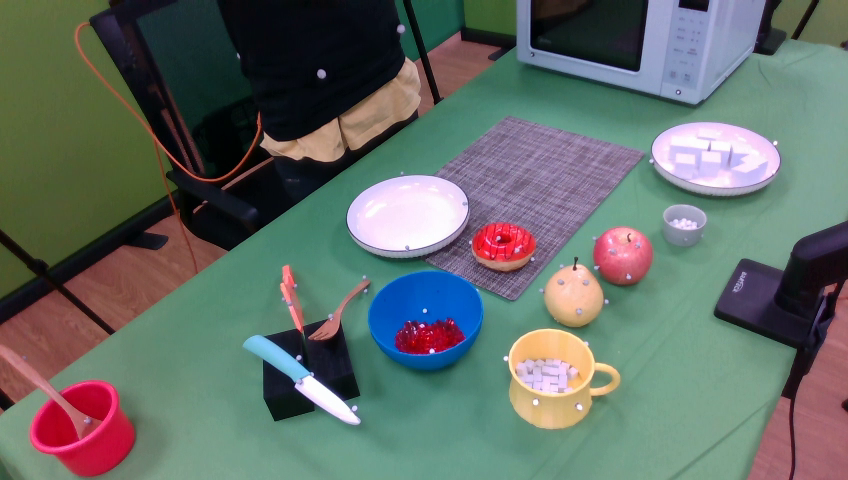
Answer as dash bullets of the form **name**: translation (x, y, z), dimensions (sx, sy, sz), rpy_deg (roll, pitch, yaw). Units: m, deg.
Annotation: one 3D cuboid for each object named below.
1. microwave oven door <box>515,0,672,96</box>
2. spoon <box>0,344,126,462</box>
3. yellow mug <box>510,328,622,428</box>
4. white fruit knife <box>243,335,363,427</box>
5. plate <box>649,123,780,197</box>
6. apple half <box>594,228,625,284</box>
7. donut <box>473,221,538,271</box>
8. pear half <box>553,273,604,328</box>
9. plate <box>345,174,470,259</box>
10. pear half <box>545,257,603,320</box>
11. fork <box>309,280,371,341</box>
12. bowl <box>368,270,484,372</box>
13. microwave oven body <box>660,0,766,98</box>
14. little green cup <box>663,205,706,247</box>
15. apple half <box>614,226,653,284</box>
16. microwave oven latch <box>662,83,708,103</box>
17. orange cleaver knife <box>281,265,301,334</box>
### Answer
- **microwave oven door**: translation (0.343, -0.454, 1.259), dimensions (0.353, 0.245, 0.039), rpy_deg (26, 51, 33)
- **spoon**: translation (-0.433, 0.191, 0.720), dimensions (0.194, 0.021, 0.042), rpy_deg (47, 53, -6)
- **yellow mug**: translation (0.168, 0.164, 0.722), dimensions (0.130, 0.064, 0.099), rpy_deg (0, 40, 8)
- **white fruit knife**: translation (-0.148, 0.167, 0.729), dimensions (0.206, 0.016, 0.027), rpy_deg (27, 80, 31)
- **plate**: translation (0.497, -0.135, 1.046), dimensions (0.207, 0.039, 0.206), rpy_deg (-4, 40, 4)
- **apple half**: translation (0.259, 0.026, 0.864), dimensions (0.033, 0.081, 0.081), rpy_deg (-3, 40, 0)
- **donut**: translation (0.123, 0.008, 0.923), dimensions (0.099, 0.048, 0.098), rpy_deg (-4, 38, 3)
- **pear half**: translation (0.208, 0.086, 0.791), dimensions (0.071, 0.088, 0.031), rpy_deg (-14, 39, -15)
- **plate**: translation (-0.026, -0.036, 1.004), dimensions (0.209, 0.038, 0.208), rpy_deg (-4, 40, 4)
- **pear half**: translation (0.197, 0.056, 0.811), dimensions (0.076, 0.110, 0.055), rpy_deg (-14, 41, -13)
- **fork**: translation (-0.109, 0.093, 0.832), dimensions (0.028, 0.018, 0.207), rpy_deg (-5, 19, 15)
- **bowl**: translation (0.006, 0.118, 0.792), dimensions (0.151, 0.077, 0.150), rpy_deg (-5, 40, 4)
- **microwave oven body**: translation (0.472, -0.513, 1.317), dimensions (0.438, 0.261, 0.327), rpy_deg (26, 51, 34)
- **little green cup**: translation (0.396, -0.021, 0.926), dimensions (0.061, 0.039, 0.061), rpy_deg (-4, 40, 4)
- **apple half**: translation (0.298, 0.023, 0.864), dimensions (0.053, 0.075, 0.080), rpy_deg (-3, 37, 1)
- **microwave oven latch**: translation (0.517, -0.296, 1.204), dimensions (0.078, 0.029, 0.030), rpy_deg (27, 52, 35)
- **orange cleaver knife**: translation (-0.189, 0.081, 0.862), dimensions (0.012, 0.077, 0.210), rpy_deg (-19, 12, -10)
